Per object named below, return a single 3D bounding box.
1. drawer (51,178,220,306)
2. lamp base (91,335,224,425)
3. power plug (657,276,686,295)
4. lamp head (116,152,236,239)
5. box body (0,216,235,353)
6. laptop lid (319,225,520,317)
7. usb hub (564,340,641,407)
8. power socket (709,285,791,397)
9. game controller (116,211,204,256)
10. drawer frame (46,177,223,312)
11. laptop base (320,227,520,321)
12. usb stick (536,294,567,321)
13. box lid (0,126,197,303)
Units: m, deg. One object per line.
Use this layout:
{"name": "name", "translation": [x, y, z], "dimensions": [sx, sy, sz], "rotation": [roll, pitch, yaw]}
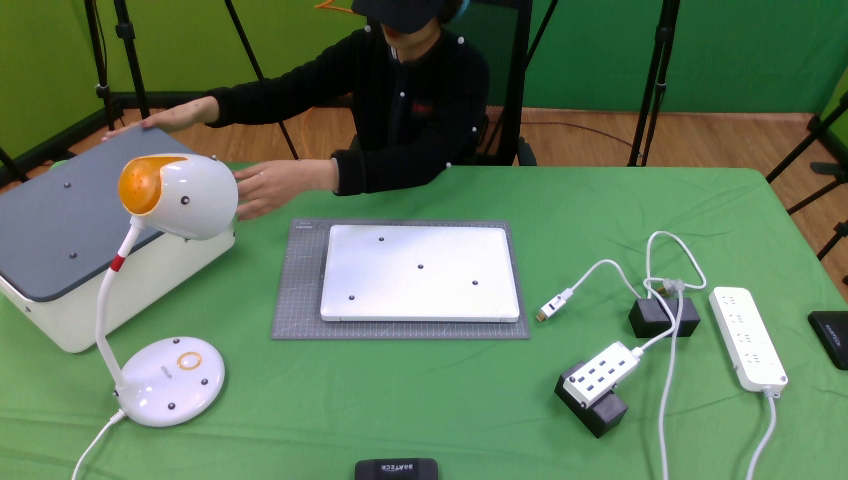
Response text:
{"name": "drawer", "translation": [-0.521, -0.002, 1.107], "dimensions": [0.194, 0.073, 0.211], "rotation": [26, 50, 21]}
{"name": "lamp base", "translation": [-0.401, 0.171, 0.892], "dimensions": [0.160, 0.181, 0.179], "rotation": [30, 53, 23]}
{"name": "power plug", "translation": [0.450, 0.087, 1.113], "dimensions": [0.073, 0.052, 0.035], "rotation": [-13, 72, -55]}
{"name": "lamp head", "translation": [-0.315, -0.057, 0.748], "dimensions": [0.112, 0.112, 0.123], "rotation": [26, 10, 20]}
{"name": "box body", "translation": [-0.550, -0.006, 1.068], "dimensions": [0.253, 0.161, 0.363], "rotation": [30, 51, 23]}
{"name": "laptop lid", "translation": [-0.008, 0.052, 1.131], "dimensions": [0.357, 0.013, 0.240], "rotation": [2, 43, -2]}
{"name": "usb hub", "translation": [0.278, 0.205, 0.944], "dimensions": [0.125, 0.025, 0.049], "rotation": [-27, 52, -28]}
{"name": "power socket", "translation": [0.567, 0.168, 1.064], "dimensions": [0.072, 0.033, 0.225], "rotation": [2, 46, 0]}
{"name": "game controller", "translation": [-0.500, -0.018, 1.142], "dimensions": [0.154, 0.051, 0.097], "rotation": [24, 20, 19]}
{"name": "drawer frame", "translation": [-0.519, 0.001, 1.106], "dimensions": [0.201, 0.083, 0.213], "rotation": [26, 51, 21]}
{"name": "laptop base", "translation": [-0.009, 0.062, 1.138], "dimensions": [0.354, 0.023, 0.234], "rotation": [1, 42, -3]}
{"name": "usb stick", "translation": [0.226, 0.122, 1.083], "dimensions": [0.059, 0.027, 0.021], "rotation": [-38, 77, -8]}
{"name": "box lid", "translation": [-0.535, -0.064, 1.013], "dimensions": [0.262, 0.015, 0.371], "rotation": [31, 50, 21]}
